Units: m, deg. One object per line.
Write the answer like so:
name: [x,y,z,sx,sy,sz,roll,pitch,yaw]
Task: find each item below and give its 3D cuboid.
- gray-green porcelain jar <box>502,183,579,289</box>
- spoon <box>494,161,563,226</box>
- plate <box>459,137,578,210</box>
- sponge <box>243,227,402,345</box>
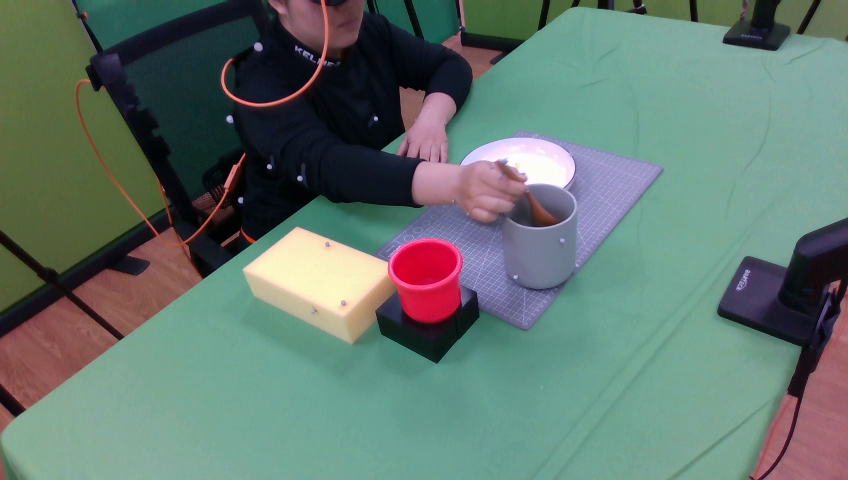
gray-green porcelain jar: [0.167,-0.001,0.866,0.106,0.127,0.105,-5,40,5]
spoon: [0.140,-0.061,0.819,0.041,0.195,0.021,8,69,38]
plate: [0.166,-0.113,1.069,0.207,0.039,0.206,-5,40,5]
sponge: [-0.153,0.063,0.907,0.205,0.061,0.118,19,48,30]
